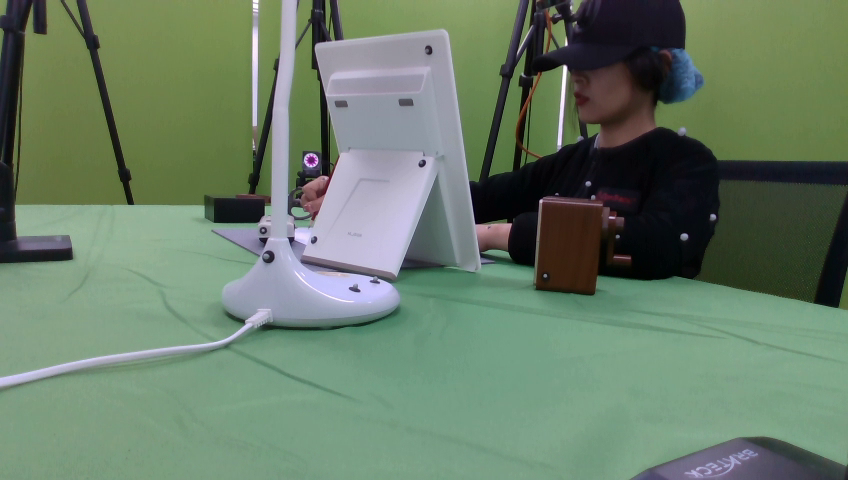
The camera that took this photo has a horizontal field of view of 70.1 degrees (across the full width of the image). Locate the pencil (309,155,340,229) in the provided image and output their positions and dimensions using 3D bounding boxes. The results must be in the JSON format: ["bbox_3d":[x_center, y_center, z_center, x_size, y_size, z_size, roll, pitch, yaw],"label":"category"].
[{"bbox_3d":[-0.182,-0.111,1.157,0.012,0.194,0.012,22,-4,2],"label":"pencil"}]

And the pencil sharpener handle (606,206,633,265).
[{"bbox_3d":[0.223,-0.004,0.683,0.030,0.068,0.036,5,21,16],"label":"pencil sharpener handle"}]

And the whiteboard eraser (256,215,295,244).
[{"bbox_3d":[-0.232,-0.016,0.951,0.056,0.042,0.112,2,7,-12],"label":"whiteboard eraser"}]

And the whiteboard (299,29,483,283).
[{"bbox_3d":[-0.074,-0.082,0.742,0.216,0.305,0.144,9,30,38],"label":"whiteboard"}]

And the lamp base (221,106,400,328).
[{"bbox_3d":[-0.101,-0.023,0.531,0.160,0.180,0.179,4,10,10],"label":"lamp base"}]

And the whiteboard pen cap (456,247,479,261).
[{"bbox_3d":[0.060,0.020,0.851,0.033,0.018,0.018,10,10,37],"label":"whiteboard pen cap"}]

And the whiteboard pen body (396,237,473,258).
[{"bbox_3d":[0.014,0.012,0.886,0.140,0.017,0.017,10,11,38],"label":"whiteboard pen body"}]

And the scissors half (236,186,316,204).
[{"bbox_3d":[-0.320,-0.097,1.316,0.176,0.040,0.013,-3,11,-29],"label":"scissors half"}]

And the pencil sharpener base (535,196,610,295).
[{"bbox_3d":[0.172,0.005,0.695,0.076,0.107,0.061,5,7,16],"label":"pencil sharpener base"}]

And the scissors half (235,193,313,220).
[{"bbox_3d":[-0.325,-0.077,1.319,0.176,0.040,0.012,17,6,-32],"label":"scissors half"}]
